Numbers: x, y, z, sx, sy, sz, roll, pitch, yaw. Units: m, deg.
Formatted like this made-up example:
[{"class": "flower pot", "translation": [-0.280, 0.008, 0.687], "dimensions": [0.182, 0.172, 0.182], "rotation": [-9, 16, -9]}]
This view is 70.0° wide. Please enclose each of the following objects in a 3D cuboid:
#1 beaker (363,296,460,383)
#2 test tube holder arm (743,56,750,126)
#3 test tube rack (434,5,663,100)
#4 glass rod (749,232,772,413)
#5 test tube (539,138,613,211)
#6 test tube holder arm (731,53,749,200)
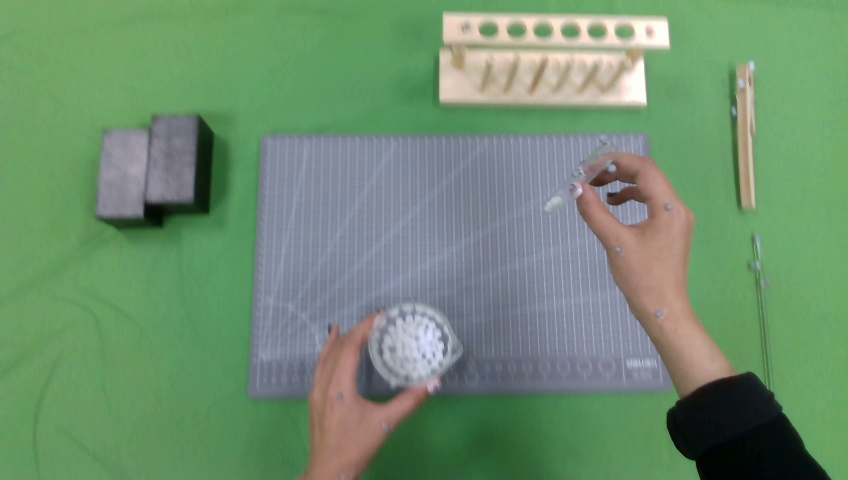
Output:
[{"class": "beaker", "translation": [-0.011, 0.094, 0.567], "dimensions": [0.084, 0.100, 0.073], "rotation": [6, 80, 0]}, {"class": "test tube holder arm", "translation": [0.377, -0.176, 0.718], "dimensions": [0.010, 0.015, 0.087], "rotation": [12, 77, -29]}, {"class": "test tube rack", "translation": [0.134, -0.209, 0.683], "dimensions": [0.242, 0.085, 0.066], "rotation": [1, 78, -2]}, {"class": "glass rod", "translation": [0.371, 0.089, 0.669], "dimensions": [0.008, 0.008, 0.199], "rotation": [1, 78, -2]}, {"class": "test tube", "translation": [0.123, -0.051, 0.511], "dimensions": [0.017, 0.150, 0.017], "rotation": [1, 77, -5]}, {"class": "test tube holder arm", "translation": [0.369, -0.133, 0.706], "dimensions": [0.013, 0.015, 0.177], "rotation": [12, 77, -29]}]
